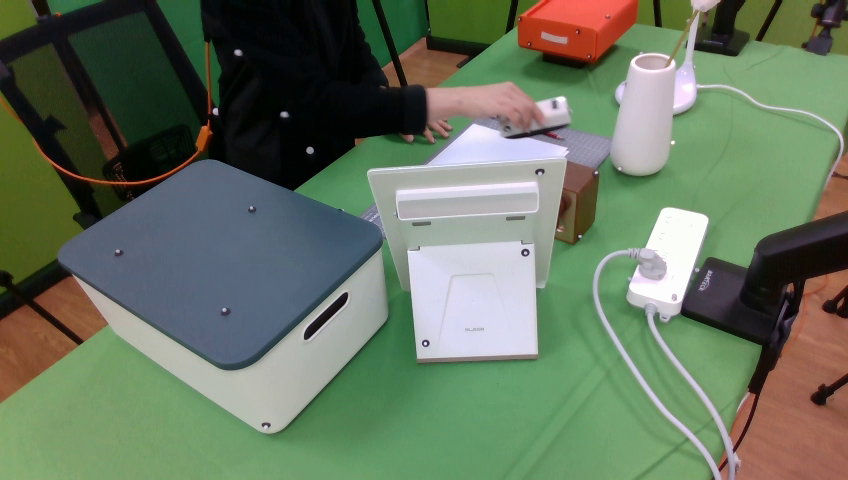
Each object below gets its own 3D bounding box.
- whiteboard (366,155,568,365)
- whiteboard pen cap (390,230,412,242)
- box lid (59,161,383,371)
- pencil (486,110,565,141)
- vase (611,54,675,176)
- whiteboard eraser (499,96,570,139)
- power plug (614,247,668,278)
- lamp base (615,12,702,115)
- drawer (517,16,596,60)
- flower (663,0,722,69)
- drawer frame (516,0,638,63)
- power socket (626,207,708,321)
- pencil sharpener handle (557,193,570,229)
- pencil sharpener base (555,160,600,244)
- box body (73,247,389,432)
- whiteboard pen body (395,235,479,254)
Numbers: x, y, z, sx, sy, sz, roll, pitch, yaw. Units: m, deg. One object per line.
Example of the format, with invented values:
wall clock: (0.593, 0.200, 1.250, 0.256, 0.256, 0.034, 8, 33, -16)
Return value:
whiteboard: (0.059, 0.050, 0.738, 0.217, 0.307, 0.143, -3, 60, 5)
whiteboard pen cap: (-0.037, -0.006, 0.980, 0.033, 0.018, 0.018, 9, 43, 17)
box lid: (-0.262, 0.010, 0.777, 0.369, 0.015, 0.264, 21, 48, 29)
pencil: (0.203, -0.232, 1.226, 0.192, 0.012, 0.012, 29, 52, 33)
vase: (0.377, -0.209, 1.031, 0.098, 0.201, 0.097, -3, 40, 3)
whiteboard eraser: (0.178, -0.195, 0.979, 0.112, 0.042, 0.055, -10, 43, 14)
power plug: (0.306, 0.031, 0.851, 0.072, 0.053, 0.035, 24, 49, 33)
lamp base: (0.484, -0.363, 1.211, 0.180, 0.181, 0.159, -15, 41, -14)
drawer: (0.353, -0.506, 1.405, 0.193, 0.073, 0.212, 23, 49, 32)
flower: (0.379, -0.261, 0.965, 0.044, 0.362, 0.038, 20, 53, 5)
drawer frame: (0.355, -0.508, 1.411, 0.200, 0.083, 0.214, 23, 51, 32)
power socket: (0.359, 0.025, 0.886, 0.072, 0.033, 0.227, 16, 46, 26)
pencil sharpener handle: (0.195, -0.038, 0.908, 0.035, 0.068, 0.031, 24, 50, 30)
pencil sharpener base: (0.228, -0.057, 0.945, 0.061, 0.107, 0.077, 24, 50, 31)
box body: (-0.255, 0.065, 0.827, 0.361, 0.161, 0.255, 21, 48, 29)
whiteboard pen body: (0.019, 0.005, 0.963, 0.140, 0.017, 0.017, 9, 43, 17)
